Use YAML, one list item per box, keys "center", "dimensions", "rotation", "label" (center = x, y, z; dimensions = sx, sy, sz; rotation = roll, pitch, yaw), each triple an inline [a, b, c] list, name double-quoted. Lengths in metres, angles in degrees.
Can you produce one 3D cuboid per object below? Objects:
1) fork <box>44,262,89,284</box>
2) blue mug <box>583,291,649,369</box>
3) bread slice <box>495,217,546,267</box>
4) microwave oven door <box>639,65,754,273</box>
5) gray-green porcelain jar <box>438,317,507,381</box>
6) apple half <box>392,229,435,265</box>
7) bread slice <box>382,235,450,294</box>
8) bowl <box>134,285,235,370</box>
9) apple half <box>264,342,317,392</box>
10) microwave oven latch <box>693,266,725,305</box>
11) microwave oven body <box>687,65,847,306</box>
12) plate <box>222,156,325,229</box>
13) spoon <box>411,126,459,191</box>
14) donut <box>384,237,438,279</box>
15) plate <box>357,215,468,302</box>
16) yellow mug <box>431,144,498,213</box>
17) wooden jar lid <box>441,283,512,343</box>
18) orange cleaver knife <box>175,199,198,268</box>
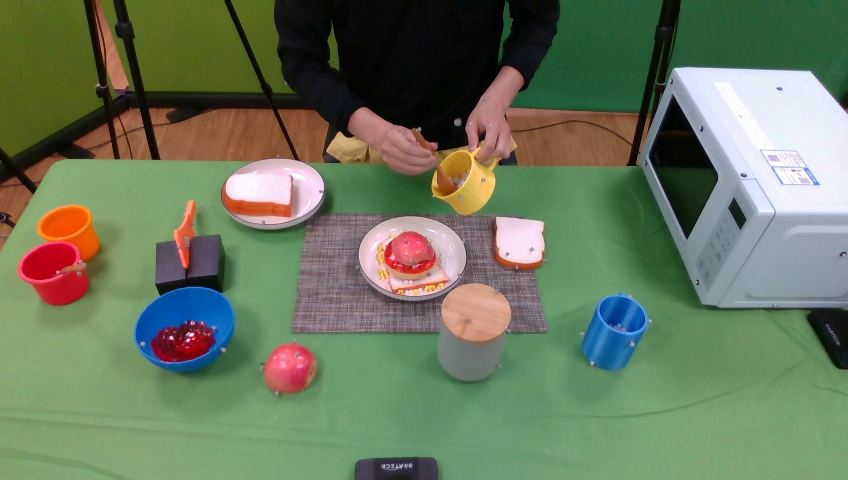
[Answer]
- center: [-0.598, 0.054, 1.014]
  dimensions: [0.207, 0.019, 0.028]
  rotation: [-15, 29, 45]
  label: "fork"
- center: [0.324, 0.142, 1.023]
  dimensions: [0.082, 0.106, 0.116]
  rotation: [15, 47, 11]
  label: "blue mug"
- center: [0.194, 0.002, 1.205]
  dimensions: [0.105, 0.019, 0.131]
  rotation: [5, 45, 3]
  label: "bread slice"
- center: [0.522, -0.147, 1.193]
  dimensions: [0.039, 0.245, 0.353]
  rotation: [0, 47, -3]
  label: "microwave oven door"
- center: [0.076, 0.158, 0.977]
  dimensions: [0.106, 0.127, 0.105]
  rotation: [2, 47, -2]
  label: "gray-green porcelain jar"
- center: [-0.020, 0.005, 1.083]
  dimensions: [0.081, 0.033, 0.081]
  rotation: [6, 48, -6]
  label: "apple half"
- center: [-0.025, 0.042, 1.144]
  dimensions: [0.107, 0.018, 0.133]
  rotation: [-14, 53, -15]
  label: "bread slice"
- center: [-0.377, 0.155, 0.981]
  dimensions: [0.151, 0.077, 0.150]
  rotation: [2, 46, -2]
  label: "bowl"
- center: [-0.214, 0.198, 0.970]
  dimensions: [0.074, 0.053, 0.080]
  rotation: [19, 48, 10]
  label: "apple half"
- center: [0.523, 0.082, 1.115]
  dimensions: [0.030, 0.029, 0.078]
  rotation: [3, 46, 0]
  label: "microwave oven latch"
- center: [0.669, -0.111, 1.176]
  dimensions: [0.326, 0.261, 0.439]
  rotation: [0, 46, -3]
  label: "microwave oven body"
- center: [-0.308, -0.095, 1.251]
  dimensions: [0.209, 0.038, 0.208]
  rotation: [2, 46, -2]
  label: "plate"
- center: [0.018, -0.135, 1.034]
  dimensions: [0.041, 0.195, 0.021]
  rotation: [8, 63, 29]
  label: "spoon"
- center: [-0.025, 0.030, 1.110]
  dimensions: [0.099, 0.048, 0.098]
  rotation: [3, 46, -2]
  label: "donut"
- center: [-0.022, 0.037, 1.141]
  dimensions: [0.208, 0.039, 0.206]
  rotation: [2, 46, -2]
  label: "plate"
- center: [0.080, -0.119, 1.085]
  dimensions: [0.131, 0.064, 0.099]
  rotation: [-48, 38, 11]
  label: "yellow mug"
- center: [0.080, 0.114, 0.931]
  dimensions: [0.108, 0.021, 0.107]
  rotation: [1, 49, 0]
  label: "wooden jar lid"
- center: [-0.438, -0.017, 1.138]
  dimensions: [0.012, 0.077, 0.210]
  rotation: [-14, 27, -7]
  label: "orange cleaver knife"
